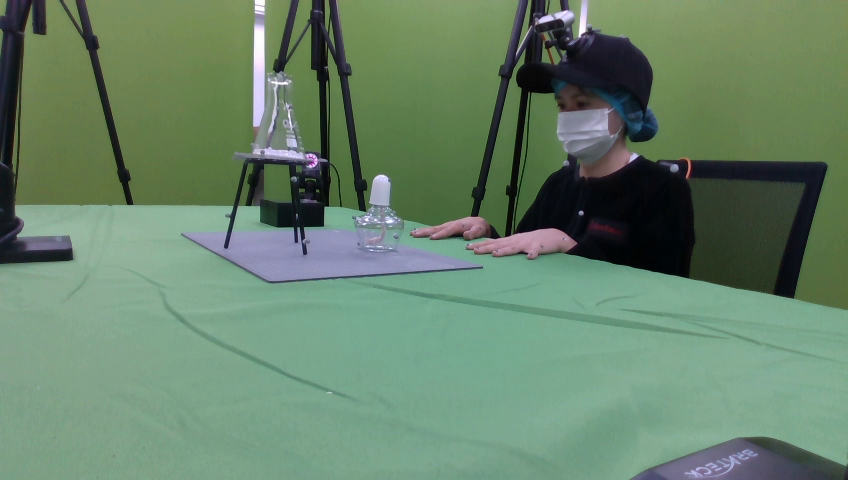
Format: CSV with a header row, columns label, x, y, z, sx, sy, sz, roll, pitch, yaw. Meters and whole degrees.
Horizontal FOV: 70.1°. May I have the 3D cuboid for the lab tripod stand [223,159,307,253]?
label,x,y,z,sx,sy,sz,roll,pitch,yaw
lab tripod stand,-0.220,-0.053,0.896,0.148,0.131,0.148,1,6,0

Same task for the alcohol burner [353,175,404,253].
label,x,y,z,sx,sy,sz,roll,pitch,yaw
alcohol burner,-0.069,-0.040,0.927,0.078,0.119,0.078,1,9,0

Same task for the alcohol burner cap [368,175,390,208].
label,x,y,z,sx,sy,sz,roll,pitch,yaw
alcohol burner cap,-0.067,-0.075,0.923,0.034,0.048,0.034,8,11,-1

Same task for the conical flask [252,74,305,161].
label,x,y,z,sx,sy,sz,roll,pitch,yaw
conical flask,-0.211,-0.177,0.879,0.075,0.122,0.075,3,6,0

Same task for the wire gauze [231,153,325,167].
label,x,y,z,sx,sy,sz,roll,pitch,yaw
wire gauze,-0.215,-0.117,0.882,0.125,0.011,0.121,3,7,-19
